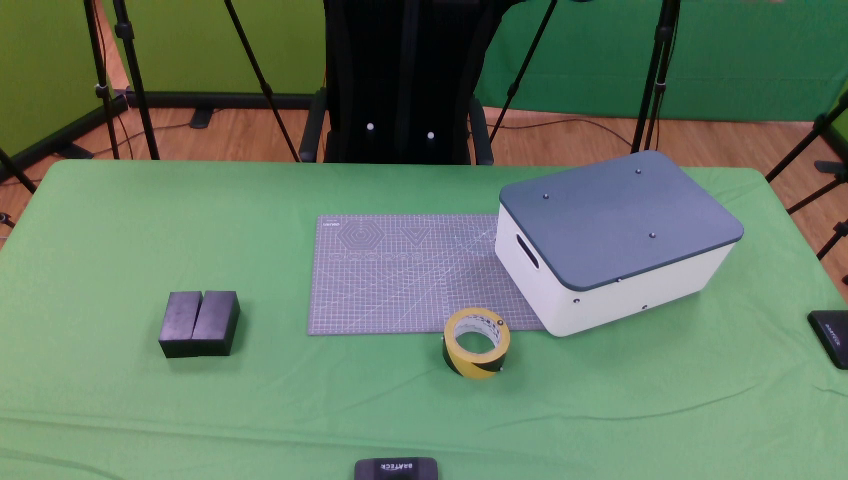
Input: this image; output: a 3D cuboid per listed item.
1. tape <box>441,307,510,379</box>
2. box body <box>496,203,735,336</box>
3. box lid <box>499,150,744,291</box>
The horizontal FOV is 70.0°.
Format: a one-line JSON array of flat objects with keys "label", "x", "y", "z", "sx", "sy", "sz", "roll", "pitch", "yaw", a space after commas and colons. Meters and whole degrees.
[{"label": "tape", "x": 0.087, "y": 0.172, "z": 1.014, "sx": 0.117, "sy": 0.053, "sz": 0.116, "roll": 2, "pitch": 48, "yaw": -2}, {"label": "box body", "x": 0.340, "y": 0.003, "z": 1.118, "sx": 0.364, "sy": 0.161, "sz": 0.252, "roll": -15, "pitch": 49, "yaw": -18}, {"label": "box lid", "x": 0.341, "y": -0.049, "z": 1.064, "sx": 0.372, "sy": 0.015, "sz": 0.261, "roll": -15, "pitch": 48, "yaw": -18}]
